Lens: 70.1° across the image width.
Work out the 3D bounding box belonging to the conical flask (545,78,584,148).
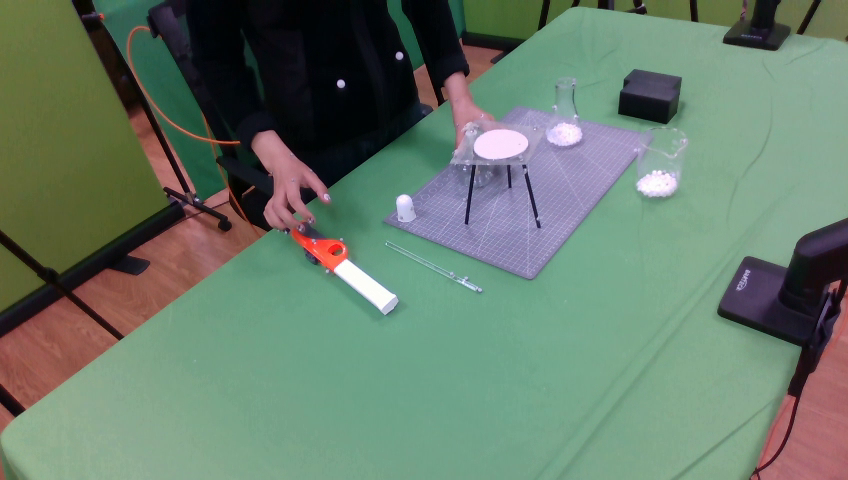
[{"bbox_3d":[0.264,-0.241,1.135,0.075,0.122,0.075,-6,40,5],"label":"conical flask"}]

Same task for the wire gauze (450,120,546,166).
[{"bbox_3d":[0.117,-0.151,0.943,0.121,0.011,0.125,9,43,21],"label":"wire gauze"}]

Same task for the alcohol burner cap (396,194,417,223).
[{"bbox_3d":[-0.032,-0.056,1.036,0.034,0.048,0.033,-6,40,6],"label":"alcohol burner cap"}]

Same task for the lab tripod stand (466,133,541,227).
[{"bbox_3d":[0.129,-0.099,0.985,0.148,0.132,0.147,-7,38,6],"label":"lab tripod stand"}]

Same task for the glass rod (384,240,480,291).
[{"bbox_3d":[0.009,0.037,0.949,0.198,0.008,0.008,26,52,34],"label":"glass rod"}]

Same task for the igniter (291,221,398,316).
[{"bbox_3d":[-0.136,0.037,0.962,0.057,0.025,0.274,-41,48,-18],"label":"igniter"}]

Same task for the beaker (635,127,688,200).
[{"bbox_3d":[0.388,-0.122,0.994,0.074,0.101,0.083,-8,40,2],"label":"beaker"}]

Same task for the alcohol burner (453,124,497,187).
[{"bbox_3d":[0.089,-0.153,1.073,0.078,0.120,0.077,-7,41,6],"label":"alcohol burner"}]
